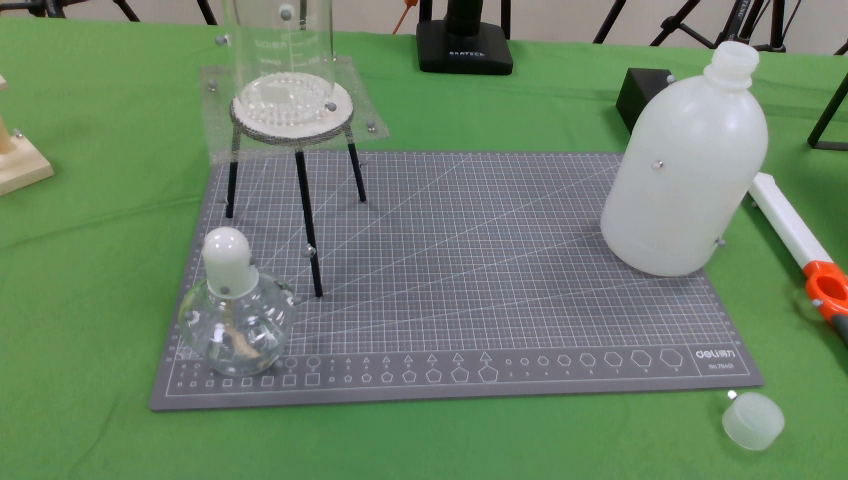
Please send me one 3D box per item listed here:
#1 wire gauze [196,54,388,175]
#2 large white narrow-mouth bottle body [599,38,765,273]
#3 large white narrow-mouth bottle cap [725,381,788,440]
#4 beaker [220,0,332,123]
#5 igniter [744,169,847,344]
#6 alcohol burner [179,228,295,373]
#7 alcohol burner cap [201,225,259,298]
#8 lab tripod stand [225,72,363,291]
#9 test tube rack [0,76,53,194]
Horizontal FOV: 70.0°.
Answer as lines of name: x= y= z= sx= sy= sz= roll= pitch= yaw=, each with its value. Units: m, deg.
wire gauze: x=-0.100 y=-0.101 z=0.445 sx=0.122 sy=0.011 sz=0.123 roll=-12 pitch=51 yaw=-15
large white narrow-mouth bottle body: x=0.216 y=-0.069 z=0.499 sx=0.102 sy=0.196 sz=0.101 roll=3 pitch=44 yaw=-2
large white narrow-mouth bottle cap: x=0.239 y=0.123 z=0.436 sx=0.038 sy=0.024 sz=0.037 roll=3 pitch=44 yaw=-2
beaker: x=-0.101 y=-0.138 z=0.413 sx=0.084 sy=0.101 sz=0.073 roll=-5 pitch=47 yaw=-12
igniter: x=0.354 y=0.029 z=0.539 sx=0.057 sy=0.025 sz=0.273 roll=8 pitch=43 yaw=-13
alcohol burner: x=-0.128 y=0.036 z=0.411 sx=0.078 sy=0.120 sz=0.077 roll=5 pitch=43 yaw=-4
alcohol burner cap: x=-0.124 y=0.012 z=0.384 sx=0.034 sy=0.048 sz=0.033 roll=3 pitch=51 yaw=-3
lab tripod stand: x=-0.101 y=-0.053 z=0.490 sx=0.148 sy=0.132 sz=0.147 roll=5 pitch=45 yaw=-4
test tube rack: x=-0.453 y=-0.054 z=0.489 sx=0.066 sy=0.086 sz=0.242 roll=37 pitch=52 yaw=27
